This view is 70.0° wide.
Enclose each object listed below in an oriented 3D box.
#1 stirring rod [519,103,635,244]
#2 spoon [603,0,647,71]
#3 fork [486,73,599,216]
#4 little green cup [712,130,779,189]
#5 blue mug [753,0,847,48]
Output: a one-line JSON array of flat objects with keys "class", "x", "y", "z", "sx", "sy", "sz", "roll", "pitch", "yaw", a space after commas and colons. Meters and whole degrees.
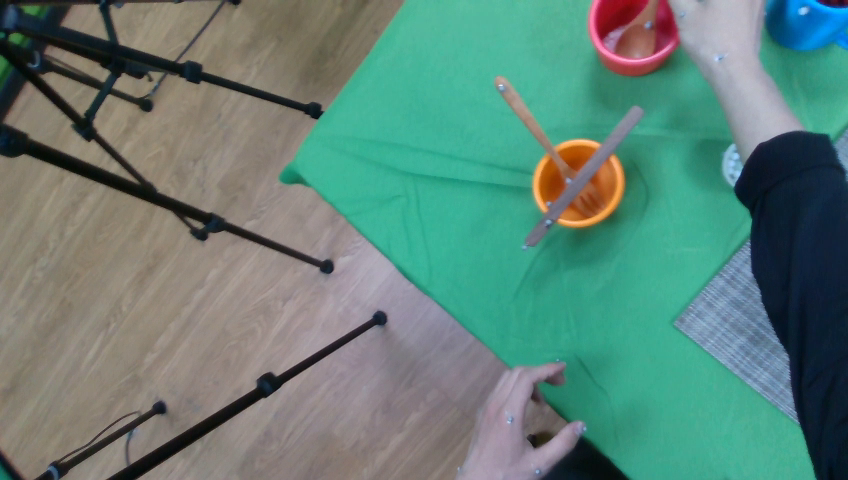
[{"class": "stirring rod", "x": 0.156, "y": -0.067, "z": 0.624, "sx": 0.014, "sy": 0.006, "sz": 0.176, "roll": 40, "pitch": 99, "yaw": 14}, {"class": "spoon", "x": 0.227, "y": -0.259, "z": 0.608, "sx": 0.041, "sy": 0.021, "sz": 0.195, "roll": 26, "pitch": 141, "yaw": 12}, {"class": "fork", "x": 0.126, "y": -0.096, "z": 0.633, "sx": 0.028, "sy": 0.018, "sz": 0.209, "roll": -35, "pitch": 125, "yaw": 18}, {"class": "little green cup", "x": 0.334, "y": -0.082, "z": 0.636, "sx": 0.061, "sy": 0.039, "sz": 0.061, "roll": 0, "pitch": 91, "yaw": 16}, {"class": "blue mug", "x": 0.387, "y": -0.234, "z": 0.586, "sx": 0.082, "sy": 0.106, "sz": 0.116, "roll": -39, "pitch": 81, "yaw": 12}]
